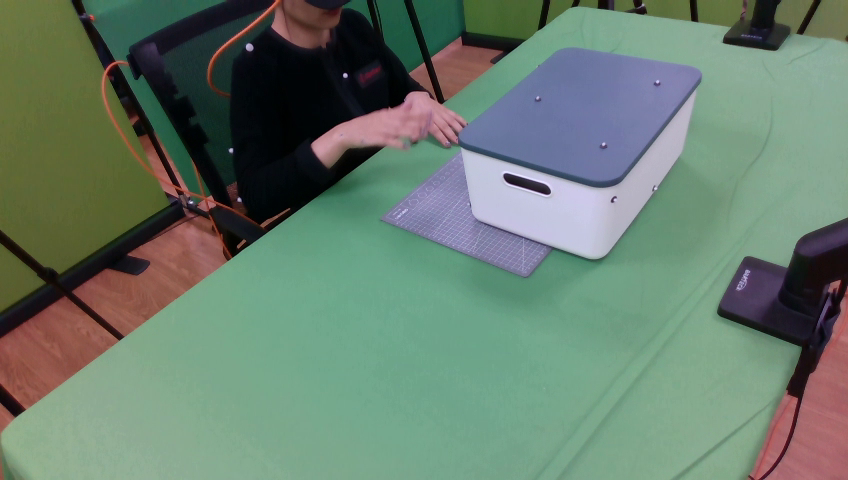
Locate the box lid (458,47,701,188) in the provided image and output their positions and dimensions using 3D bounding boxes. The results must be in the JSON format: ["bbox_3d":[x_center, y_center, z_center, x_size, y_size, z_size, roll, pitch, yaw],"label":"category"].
[{"bbox_3d":[0.253,-0.211,0.954,0.261,0.015,0.372,22,49,30],"label":"box lid"}]

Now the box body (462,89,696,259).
[{"bbox_3d":[0.261,-0.153,1.001,0.252,0.161,0.365,21,48,31],"label":"box body"}]
